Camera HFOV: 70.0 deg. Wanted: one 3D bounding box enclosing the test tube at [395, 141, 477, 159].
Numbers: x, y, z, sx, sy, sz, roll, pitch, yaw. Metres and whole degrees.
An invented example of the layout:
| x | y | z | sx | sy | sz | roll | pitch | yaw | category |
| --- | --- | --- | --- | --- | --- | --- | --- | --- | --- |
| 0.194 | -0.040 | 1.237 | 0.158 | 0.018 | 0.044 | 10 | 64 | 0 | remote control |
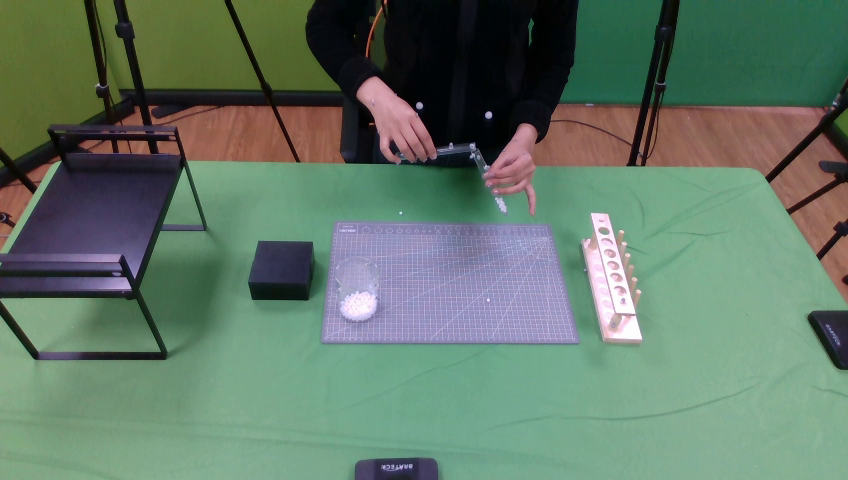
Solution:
| x | y | z | sx | sy | sz | roll | pitch | yaw | category |
| --- | --- | --- | --- | --- | --- | --- | --- | --- | --- |
| 0.020 | -0.161 | 1.087 | 0.150 | 0.017 | 0.017 | -6 | 45 | 12 | test tube |

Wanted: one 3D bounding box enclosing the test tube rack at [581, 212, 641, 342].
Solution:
| x | y | z | sx | sy | sz | roll | pitch | yaw | category |
| --- | --- | --- | --- | --- | --- | --- | --- | --- | --- |
| 0.351 | 0.064 | 1.121 | 0.067 | 0.085 | 0.241 | 3 | 46 | -1 | test tube rack |

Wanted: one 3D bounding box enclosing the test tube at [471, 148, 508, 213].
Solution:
| x | y | z | sx | sy | sz | roll | pitch | yaw | category |
| --- | --- | --- | --- | --- | --- | --- | --- | --- | --- |
| 0.123 | -0.108 | 1.121 | 0.017 | 0.151 | 0.017 | -21 | 34 | 16 | test tube |

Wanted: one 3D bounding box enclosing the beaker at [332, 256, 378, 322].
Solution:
| x | y | z | sx | sy | sz | roll | pitch | yaw | category |
| --- | --- | --- | --- | --- | --- | --- | --- | --- | --- |
| -0.114 | 0.089 | 1.047 | 0.083 | 0.101 | 0.074 | 30 | 51 | 21 | beaker |
